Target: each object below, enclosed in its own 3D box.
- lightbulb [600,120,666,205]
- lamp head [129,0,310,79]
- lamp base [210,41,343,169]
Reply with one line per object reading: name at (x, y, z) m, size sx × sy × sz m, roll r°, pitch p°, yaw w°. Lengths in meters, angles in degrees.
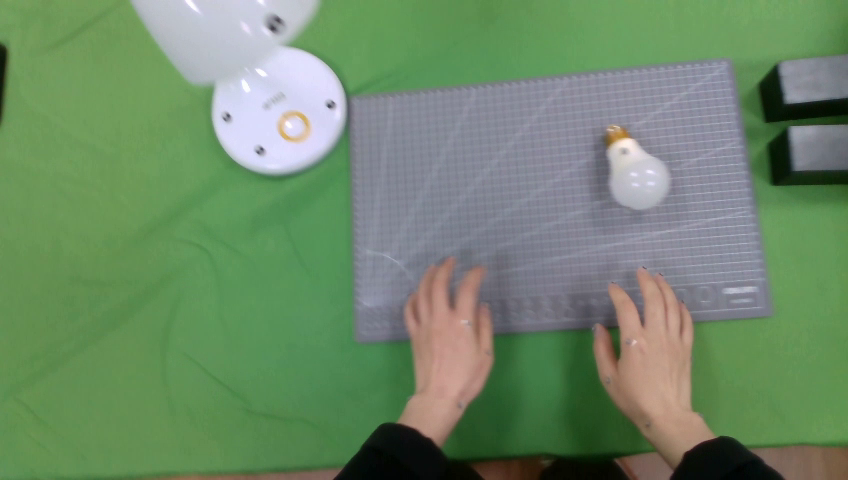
lightbulb at (0.222, -0.087, 0.662) m, size 0.059 × 0.060 × 0.106 m, roll -19°, pitch 63°, yaw 1°
lamp head at (-0.149, -0.184, 0.382) m, size 0.112 × 0.124 × 0.111 m, roll -21°, pitch 41°, yaw 19°
lamp base at (-0.193, -0.185, 0.653) m, size 0.178 × 0.181 × 0.160 m, roll 42°, pitch 85°, yaw 14°
